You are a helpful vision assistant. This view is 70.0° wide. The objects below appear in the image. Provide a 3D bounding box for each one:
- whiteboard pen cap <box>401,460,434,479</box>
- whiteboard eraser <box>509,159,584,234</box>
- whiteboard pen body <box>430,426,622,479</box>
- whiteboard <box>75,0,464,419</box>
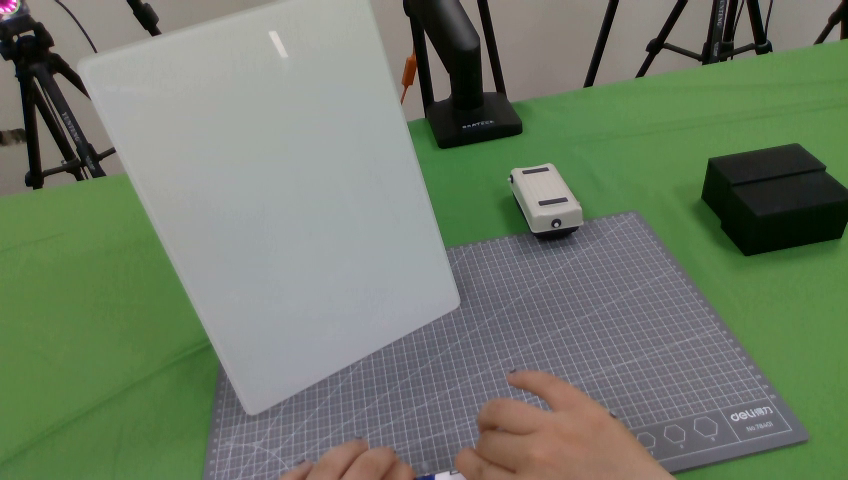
[{"bbox_3d":[-0.009,0.154,0.374,0.018,0.018,0.033,24,67,34],"label":"whiteboard pen cap"},{"bbox_3d":[0.133,-0.049,0.670,0.055,0.042,0.111,-12,35,0],"label":"whiteboard eraser"},{"bbox_3d":[0.052,0.139,0.373,0.141,0.017,0.017,-16,39,3],"label":"whiteboard pen body"},{"bbox_3d":[-0.125,-0.043,0.547,0.217,0.307,0.142,-25,23,-19],"label":"whiteboard"}]
